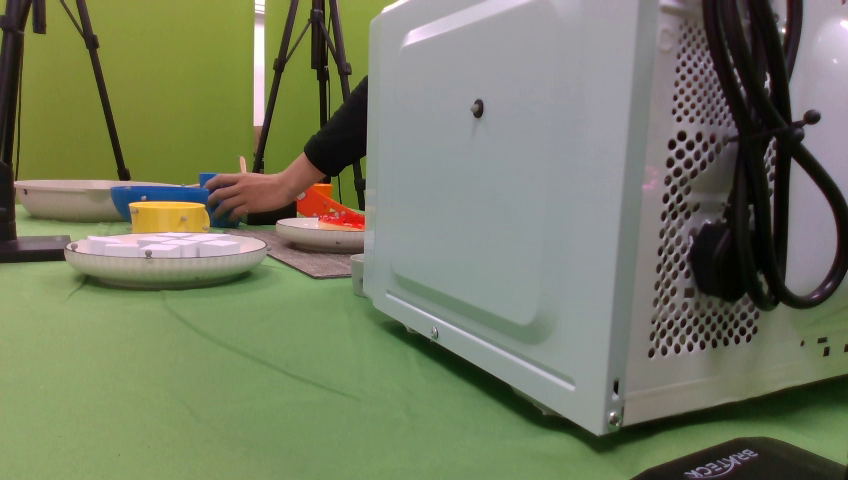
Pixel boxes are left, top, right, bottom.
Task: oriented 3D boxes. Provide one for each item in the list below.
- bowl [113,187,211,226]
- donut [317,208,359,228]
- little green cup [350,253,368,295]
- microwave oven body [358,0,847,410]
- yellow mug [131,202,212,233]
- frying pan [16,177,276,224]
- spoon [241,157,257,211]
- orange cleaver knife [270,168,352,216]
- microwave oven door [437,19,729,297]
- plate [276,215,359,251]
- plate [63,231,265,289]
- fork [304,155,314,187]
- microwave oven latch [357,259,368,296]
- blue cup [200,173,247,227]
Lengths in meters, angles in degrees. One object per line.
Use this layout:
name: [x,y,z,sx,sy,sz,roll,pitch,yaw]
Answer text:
bowl: [-0.436,-0.046,1.013,0.151,0.077,0.151,2,7,0]
donut: [-0.118,-0.024,0.954,0.099,0.048,0.099,6,7,0]
little green cup: [-0.048,0.035,0.632,0.061,0.038,0.061,3,6,0]
microwave oven body: [0.210,-0.051,0.471,0.444,0.260,0.324,-1,7,-28]
yellow mug: [-0.356,-0.020,0.878,0.099,0.064,0.131,5,7,22]
frying pan: [-0.554,-0.097,1.266,0.490,0.102,0.305,-10,13,-24]
spoon: [-0.432,-0.140,1.472,0.042,0.021,0.193,-2,52,-19]
orange cleaver knife: [-0.237,-0.084,1.332,0.212,0.077,0.012,31,-9,-31]
microwave oven door: [0.180,-0.077,0.618,0.358,0.243,0.039,-2,8,-28]
plate: [-0.126,-0.012,0.950,0.209,0.038,0.209,2,7,0]
plate: [-0.288,0.021,0.687,0.208,0.039,0.207,2,8,0]
fork: [-0.268,-0.134,1.446,0.028,0.018,0.207,1,-36,-1]
microwave oven latch: [-0.019,0.031,0.528,0.079,0.029,0.030,-1,7,-25]
blue cup: [-0.385,-0.077,1.165,0.093,0.100,0.092,1,6,0]
